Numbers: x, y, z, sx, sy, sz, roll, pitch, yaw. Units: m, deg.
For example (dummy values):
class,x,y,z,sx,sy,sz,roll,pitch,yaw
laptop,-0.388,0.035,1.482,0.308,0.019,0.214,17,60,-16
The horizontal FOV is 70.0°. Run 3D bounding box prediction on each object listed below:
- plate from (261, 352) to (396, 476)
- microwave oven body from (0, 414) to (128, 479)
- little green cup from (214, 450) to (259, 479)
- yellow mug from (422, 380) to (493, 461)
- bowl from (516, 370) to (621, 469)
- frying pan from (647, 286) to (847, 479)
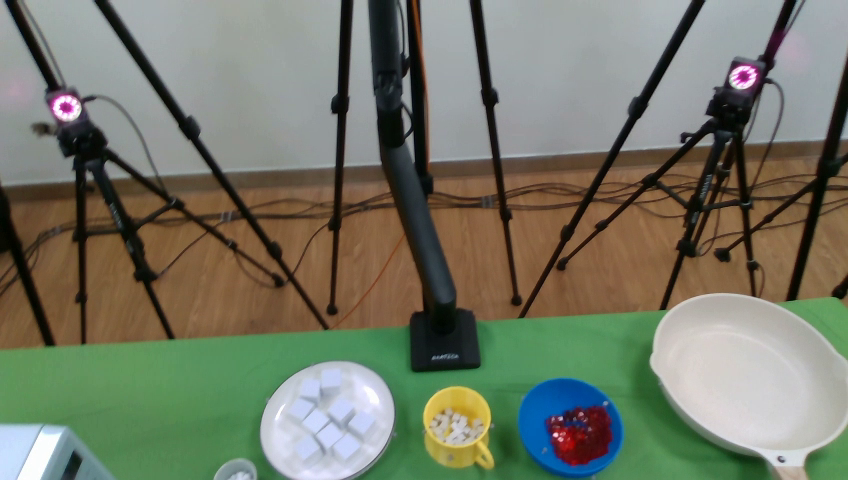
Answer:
class,x,y,z,sx,sy,sz,roll,pitch,yaw
plate,-0.147,0.272,0.950,0.208,0.039,0.205,-1,46,1
microwave oven body,-0.570,0.440,0.641,0.326,0.262,0.437,0,47,1
little green cup,-0.270,0.343,0.883,0.061,0.039,0.061,0,47,1
yellow mug,0.058,0.281,0.915,0.100,0.064,0.129,-32,54,-25
bowl,0.209,0.279,0.904,0.151,0.077,0.150,-1,46,2
frying pan,0.500,0.267,0.887,0.307,0.103,0.483,0,38,4
